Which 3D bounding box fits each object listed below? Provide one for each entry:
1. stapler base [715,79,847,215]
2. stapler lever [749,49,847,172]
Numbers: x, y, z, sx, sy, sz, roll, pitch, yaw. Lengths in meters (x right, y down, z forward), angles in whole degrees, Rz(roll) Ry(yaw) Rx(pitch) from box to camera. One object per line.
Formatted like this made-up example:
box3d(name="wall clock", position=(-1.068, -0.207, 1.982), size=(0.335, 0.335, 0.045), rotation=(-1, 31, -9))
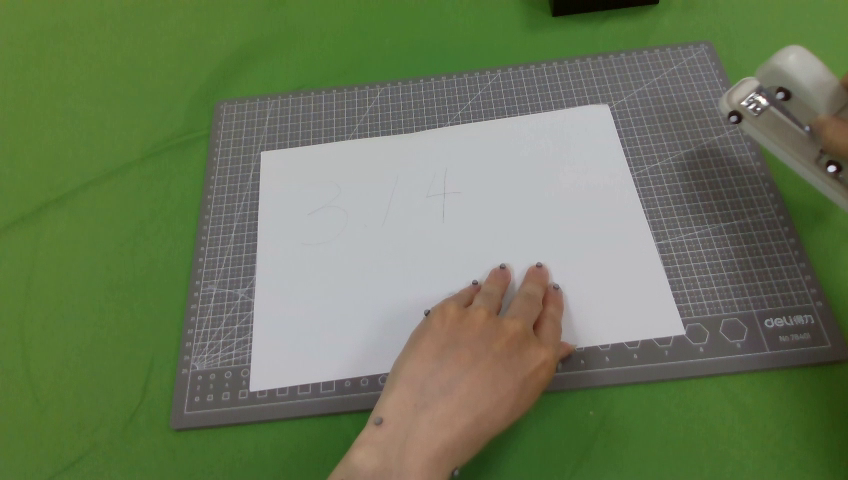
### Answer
box3d(name="stapler base", position=(0.265, -0.069, 0.418), size=(0.041, 0.024, 0.130), rotation=(-41, 73, -11))
box3d(name="stapler lever", position=(0.265, -0.078, 0.394), size=(0.027, 0.040, 0.117), rotation=(-41, 73, -11))
